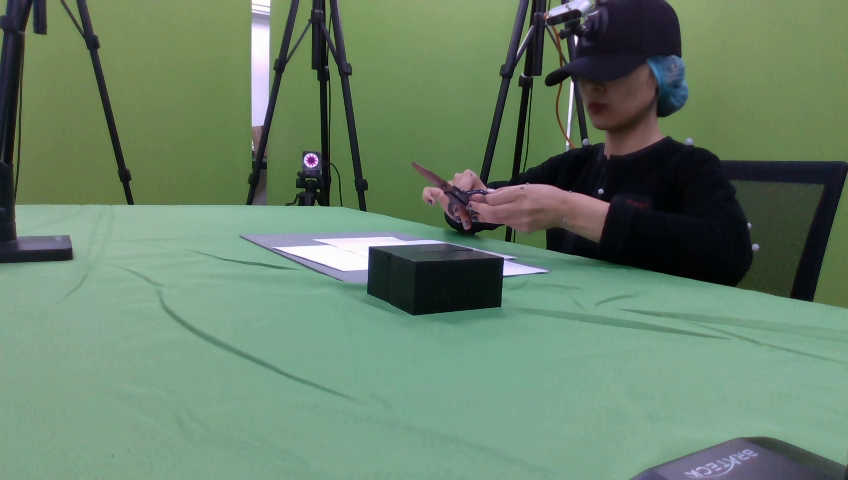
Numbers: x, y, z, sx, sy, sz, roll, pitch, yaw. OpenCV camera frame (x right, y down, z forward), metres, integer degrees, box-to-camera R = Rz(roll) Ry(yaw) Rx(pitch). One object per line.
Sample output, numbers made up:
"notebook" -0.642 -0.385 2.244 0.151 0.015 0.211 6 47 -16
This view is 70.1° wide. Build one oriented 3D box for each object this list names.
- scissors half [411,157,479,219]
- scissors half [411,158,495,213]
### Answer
"scissors half" 0.031 -0.078 0.930 0.040 0.013 0.176 -18 -38 27
"scissors half" 0.047 -0.085 0.919 0.176 0.013 0.040 26 -46 -34
